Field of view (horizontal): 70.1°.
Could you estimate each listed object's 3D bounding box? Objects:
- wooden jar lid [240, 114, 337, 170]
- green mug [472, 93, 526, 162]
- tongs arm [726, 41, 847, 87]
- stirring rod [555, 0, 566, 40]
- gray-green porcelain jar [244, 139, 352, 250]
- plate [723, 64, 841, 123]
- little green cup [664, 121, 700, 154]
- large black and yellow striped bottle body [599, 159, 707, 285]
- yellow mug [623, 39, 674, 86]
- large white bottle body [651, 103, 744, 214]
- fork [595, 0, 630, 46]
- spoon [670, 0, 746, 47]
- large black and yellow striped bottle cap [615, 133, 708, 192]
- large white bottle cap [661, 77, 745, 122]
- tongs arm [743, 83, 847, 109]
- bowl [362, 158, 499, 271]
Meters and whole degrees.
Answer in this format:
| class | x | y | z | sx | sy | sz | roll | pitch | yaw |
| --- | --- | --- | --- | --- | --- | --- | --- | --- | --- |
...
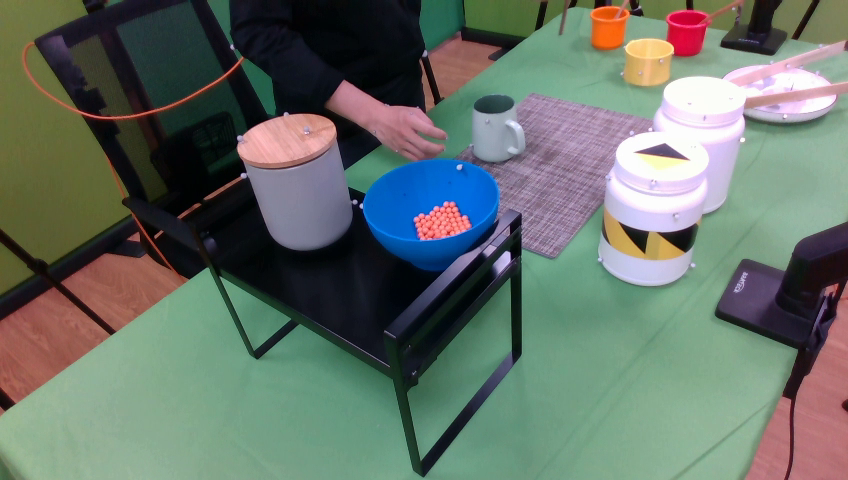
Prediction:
| class | x | y | z | sx | sy | sz | roll | pitch | yaw |
| --- | --- | --- | --- | --- | --- | --- | --- | --- | --- |
| wooden jar lid | -0.149 | -0.106 | 0.673 | 0.108 | 0.021 | 0.108 | -6 | 38 | 5 |
| green mug | 0.144 | -0.201 | 1.122 | 0.093 | 0.105 | 0.124 | -29 | 45 | -23 |
| tongs arm | 0.712 | -0.332 | 1.194 | 0.386 | 0.026 | 0.050 | -18 | 45 | -16 |
| stirring rod | 0.241 | -0.428 | 1.015 | 0.006 | 0.176 | 0.014 | 7 | 27 | -2 |
| gray-green porcelain jar | -0.144 | -0.060 | 0.714 | 0.106 | 0.127 | 0.105 | -4 | 41 | 4 |
| plate | 0.695 | -0.282 | 1.189 | 0.207 | 0.039 | 0.206 | -4 | 40 | 4 |
| little green cup | 0.473 | -0.188 | 1.113 | 0.061 | 0.039 | 0.061 | -5 | 40 | 5 |
| large black and yellow striped bottle body | 0.320 | -0.042 | 0.854 | 0.131 | 0.185 | 0.130 | -4 | 41 | 4 |
| yellow mug | 0.484 | -0.398 | 1.334 | 0.100 | 0.064 | 0.130 | -18 | 41 | -11 |
| large white bottle body | 0.426 | -0.146 | 0.958 | 0.130 | 0.185 | 0.130 | -4 | 40 | 4 |
| fork | 0.480 | -0.555 | 1.452 | 0.028 | 0.019 | 0.207 | 41 | 104 | 40 |
| spoon | 0.629 | -0.485 | 1.350 | 0.022 | 0.193 | 0.042 | 48 | 54 | -7 |
| large black and yellow striped bottle cap | 0.313 | -0.105 | 0.799 | 0.115 | 0.019 | 0.114 | -5 | 41 | 5 |
| large white bottle cap | 0.415 | -0.210 | 0.904 | 0.115 | 0.018 | 0.114 | -4 | 40 | 4 |
| tongs arm | 0.738 | -0.281 | 1.134 | 0.388 | 0.028 | 0.028 | -9 | 47 | -5 |
| bowl | 0.011 | -0.019 | 0.679 | 0.151 | 0.077 | 0.150 | -5 | 41 | 5 |
